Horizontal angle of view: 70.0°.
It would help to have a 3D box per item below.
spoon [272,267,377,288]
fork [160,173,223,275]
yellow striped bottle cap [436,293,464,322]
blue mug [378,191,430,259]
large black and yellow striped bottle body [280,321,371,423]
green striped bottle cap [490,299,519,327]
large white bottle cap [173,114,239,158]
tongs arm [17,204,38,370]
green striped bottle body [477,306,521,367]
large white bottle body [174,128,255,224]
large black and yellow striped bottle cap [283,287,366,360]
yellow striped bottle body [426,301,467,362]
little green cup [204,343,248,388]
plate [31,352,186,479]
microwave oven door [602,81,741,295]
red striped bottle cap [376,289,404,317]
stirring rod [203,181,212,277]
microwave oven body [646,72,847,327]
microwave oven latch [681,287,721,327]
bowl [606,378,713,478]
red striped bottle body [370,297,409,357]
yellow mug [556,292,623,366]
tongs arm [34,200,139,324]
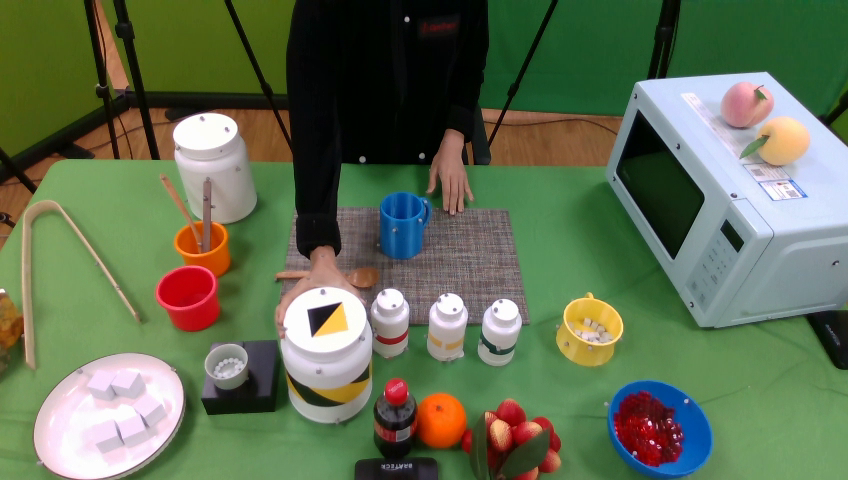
[{"bbox_3d":[-0.183,0.065,1.115,0.194,0.022,0.041,3,68,-2],"label":"spoon"},{"bbox_3d":[-0.426,-0.030,1.103,0.028,0.018,0.207,-30,99,-22],"label":"fork"},{"bbox_3d":[0.041,0.106,0.959,0.044,0.019,0.044,-1,49,1],"label":"yellow striped bottle cap"},{"bbox_3d":[-0.033,-0.035,1.166,0.116,0.106,0.082,-30,55,-29],"label":"blue mug"},{"bbox_3d":[-0.144,0.174,0.904,0.131,0.185,0.130,3,45,-3],"label":"large black and yellow striped bottle body"},{"bbox_3d":[0.127,0.115,0.958,0.044,0.020,0.044,2,47,-2],"label":"green striped bottle cap"},{"bbox_3d":[-0.403,-0.195,1.122,0.115,0.018,0.114,2,47,-2],"label":"large white bottle cap"},{"bbox_3d":[-0.698,0.069,1.068,0.028,0.028,0.385,-20,50,-13],"label":"tongs arm"},{"bbox_3d":[0.124,0.151,0.995,0.063,0.120,0.063,2,46,-2],"label":"green striped bottle body"},{"bbox_3d":[-0.408,-0.137,1.183,0.131,0.185,0.130,2,46,-2],"label":"large white bottle body"},{"bbox_3d":[-0.138,0.114,0.845,0.115,0.019,0.114,3,47,-3],"label":"large black and yellow striped bottle cap"},{"bbox_3d":[0.037,0.142,0.996,0.063,0.121,0.062,2,46,-2],"label":"yellow striped bottle body"},{"bbox_3d":[-0.294,0.190,0.909,0.061,0.039,0.061,1,48,-1],"label":"little green cup"},{"bbox_3d":[-0.459,0.262,0.898,0.209,0.038,0.208,2,46,-2],"label":"plate"},{"bbox_3d":[0.456,-0.107,1.162,0.039,0.245,0.353,-6,47,-11],"label":"microwave oven door"},{"bbox_3d":[-0.054,0.098,0.958,0.044,0.018,0.044,-1,48,1],"label":"red striped bottle cap"},{"bbox_3d":[-0.396,-0.021,1.108,0.014,0.006,0.176,-1,89,-1],"label":"stirring rod"},{"bbox_3d":[0.607,-0.089,1.164,0.326,0.261,0.438,-7,46,-10],"label":"microwave oven body"},{"bbox_3d":[0.494,0.119,1.087,0.030,0.029,0.078,-6,46,-9],"label":"microwave oven latch"},{"bbox_3d":[0.340,0.292,0.906,0.151,0.077,0.150,2,46,-2],"label":"bowl"},{"bbox_3d":[-0.058,0.134,0.996,0.063,0.120,0.062,3,46,-3],"label":"red striped bottle body"},{"bbox_3d":[0.285,0.145,1.051,0.100,0.064,0.130,7,45,3],"label":"yellow mug"},{"bbox_3d":[-0.622,0.034,1.105,0.051,0.026,0.382,-32,56,-26],"label":"tongs arm"}]
